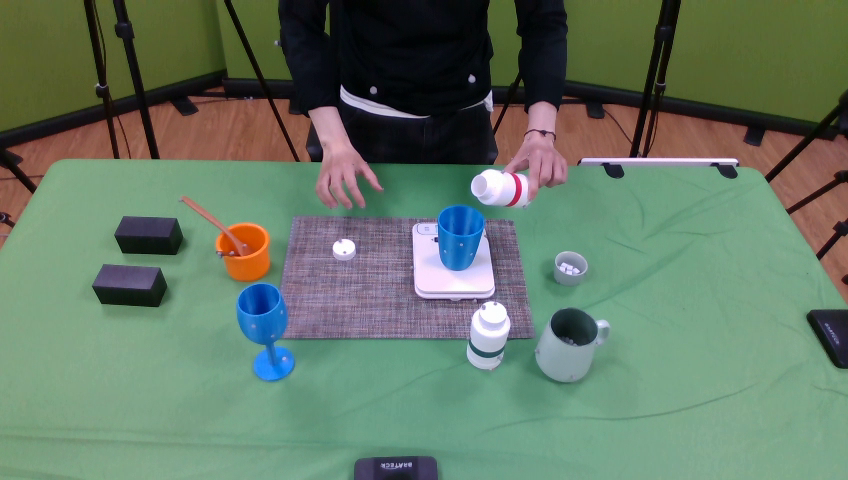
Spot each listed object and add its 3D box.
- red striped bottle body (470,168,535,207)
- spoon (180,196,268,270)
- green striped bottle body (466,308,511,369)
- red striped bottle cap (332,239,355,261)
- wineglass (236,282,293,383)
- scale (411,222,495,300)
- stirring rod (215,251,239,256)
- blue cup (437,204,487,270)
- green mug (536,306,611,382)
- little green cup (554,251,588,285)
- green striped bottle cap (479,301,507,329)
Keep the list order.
[{"bbox_3d":[0.136,-0.093,1.074,0.120,0.063,0.062,1,38,-43],"label":"red striped bottle body"},{"bbox_3d":[-0.360,-0.014,1.094,0.021,0.194,0.041,-28,26,31],"label":"spoon"},{"bbox_3d":[0.106,0.154,0.988,0.063,0.120,0.063,2,46,-2],"label":"green striped bottle body"},{"bbox_3d":[-0.155,0.018,1.166,0.044,0.018,0.044,-1,48,1],"label":"red striped bottle cap"},{"bbox_3d":[-0.243,0.143,0.934,0.074,0.173,0.073,2,46,-2],"label":"wineglass"},{"bbox_3d":[0.052,0.031,1.158,0.149,0.032,0.199,1,46,-4],"label":"scale"},{"bbox_3d":[-0.339,0.024,1.059,0.014,0.176,0.006,16,86,-6],"label":"stirring rod"},{"bbox_3d":[0.062,0.001,1.098,0.093,0.101,0.092,2,44,-2],"label":"blue cup"},{"bbox_3d":[0.250,0.167,0.996,0.125,0.105,0.092,-15,49,-19],"label":"green mug"},{"bbox_3d":[0.277,0.055,1.151,0.061,0.039,0.061,1,46,-1],"label":"little green cup"},{"bbox_3d":[0.109,0.118,0.950,0.044,0.020,0.044,2,47,-2],"label":"green striped bottle cap"}]
